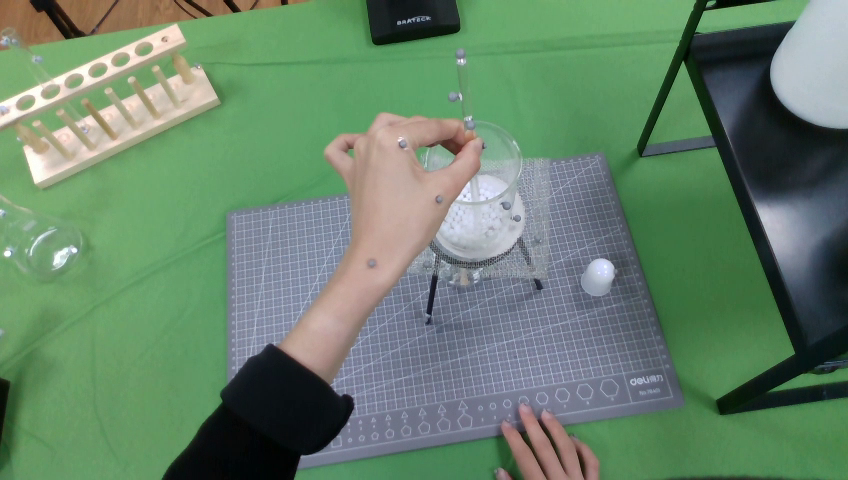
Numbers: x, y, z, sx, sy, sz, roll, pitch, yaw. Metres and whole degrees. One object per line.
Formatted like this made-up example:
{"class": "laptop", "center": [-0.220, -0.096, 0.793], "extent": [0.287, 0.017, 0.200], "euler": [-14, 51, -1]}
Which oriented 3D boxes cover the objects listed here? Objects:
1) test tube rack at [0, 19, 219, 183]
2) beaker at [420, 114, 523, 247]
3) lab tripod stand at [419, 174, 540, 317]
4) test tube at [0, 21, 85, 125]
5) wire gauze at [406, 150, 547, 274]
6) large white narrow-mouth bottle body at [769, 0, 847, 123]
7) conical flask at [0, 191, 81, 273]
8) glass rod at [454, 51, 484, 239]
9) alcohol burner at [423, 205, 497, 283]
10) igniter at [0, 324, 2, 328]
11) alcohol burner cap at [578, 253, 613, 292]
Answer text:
{"class": "test tube rack", "center": [-0.388, -0.168, 0.740], "extent": [0.242, 0.086, 0.066], "euler": [-28, 66, -9]}
{"class": "beaker", "center": [0.036, -0.041, 0.498], "extent": [0.084, 0.101, 0.073], "euler": [-31, 68, -9]}
{"class": "lab tripod stand", "center": [0.049, 0.005, 0.602], "extent": [0.148, 0.132, 0.147], "euler": [-1, 64, 2]}
{"class": "test tube", "center": [-0.435, -0.186, 0.696], "extent": [0.017, 0.151, 0.017], "euler": [-2, 59, 3]}
{"class": "wire gauze", "center": [0.050, -0.027, 0.544], "extent": [0.121, 0.011, 0.124], "euler": [4, 64, 3]}
{"class": "large white narrow-mouth bottle body", "center": [0.338, -0.176, 0.436], "extent": [0.102, 0.196, 0.101], "euler": [-2, 66, 5]}
{"class": "conical flask", "center": [-0.440, -0.019, 0.655], "extent": [0.075, 0.123, 0.074], "euler": [-2, 65, 4]}
{"class": "glass rod", "center": [0.034, -0.056, 0.441], "extent": [0.008, 0.201, 0.008], "euler": [-4, 57, 7]}
{"class": "alcohol burner", "center": [0.037, -0.001, 0.616], "extent": [0.078, 0.120, 0.077], "euler": [-1, 64, 2]}
{"class": "igniter", "center": [-0.499, 0.194, 0.564], "extent": [0.057, 0.025, 0.275], "euler": [17, 67, 22]}
{"class": "alcohol burner cap", "center": [0.180, 0.031, 0.631], "extent": [0.034, 0.048, 0.033], "euler": [-2, 65, 4]}
